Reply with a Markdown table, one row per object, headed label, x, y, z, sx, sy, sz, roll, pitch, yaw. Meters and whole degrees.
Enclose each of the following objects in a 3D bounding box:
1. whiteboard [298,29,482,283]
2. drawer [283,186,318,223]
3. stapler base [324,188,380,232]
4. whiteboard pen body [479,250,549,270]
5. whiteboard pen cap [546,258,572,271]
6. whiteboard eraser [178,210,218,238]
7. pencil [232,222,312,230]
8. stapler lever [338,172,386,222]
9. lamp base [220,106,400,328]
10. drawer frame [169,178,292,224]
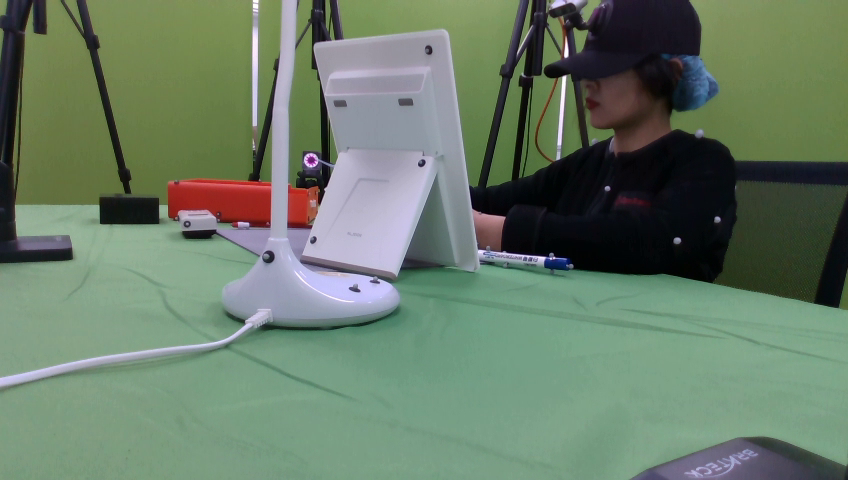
| label | x | y | z | sx | sy | sz | roll | pitch | yaw |
| --- | --- | --- | --- | --- | --- | --- | --- | --- | --- |
| whiteboard | -0.075 | -0.082 | 0.742 | 0.216 | 0.305 | 0.144 | 9 | 29 | 37 |
| drawer | -0.342 | -0.083 | 1.310 | 0.212 | 0.073 | 0.194 | 2 | 8 | -4 |
| stapler base | -0.130 | -0.063 | 1.143 | 0.131 | 0.024 | 0.041 | 39 | 4 | -31 |
| whiteboard pen body | 0.130 | 0.028 | 0.827 | 0.140 | 0.017 | 0.017 | 7 | 9 | 38 |
| whiteboard pen cap | 0.175 | 0.032 | 0.790 | 0.033 | 0.018 | 0.018 | 3 | 6 | 37 |
| whiteboard eraser | -0.380 | -0.027 | 1.014 | 0.056 | 0.042 | 0.112 | 0 | 8 | -25 |
| pencil | -0.261 | -0.025 | 1.141 | 0.195 | 0.012 | 0.012 | 2 | 7 | -26 |
| stapler lever | -0.113 | -0.082 | 1.144 | 0.118 | 0.040 | 0.026 | 40 | 3 | -31 |
| lamp base | -0.101 | -0.023 | 0.531 | 0.160 | 0.180 | 0.179 | 4 | 10 | 10 |
| drawer frame | -0.406 | -0.087 | 1.304 | 0.214 | 0.082 | 0.201 | 1 | 8 | -5 |
